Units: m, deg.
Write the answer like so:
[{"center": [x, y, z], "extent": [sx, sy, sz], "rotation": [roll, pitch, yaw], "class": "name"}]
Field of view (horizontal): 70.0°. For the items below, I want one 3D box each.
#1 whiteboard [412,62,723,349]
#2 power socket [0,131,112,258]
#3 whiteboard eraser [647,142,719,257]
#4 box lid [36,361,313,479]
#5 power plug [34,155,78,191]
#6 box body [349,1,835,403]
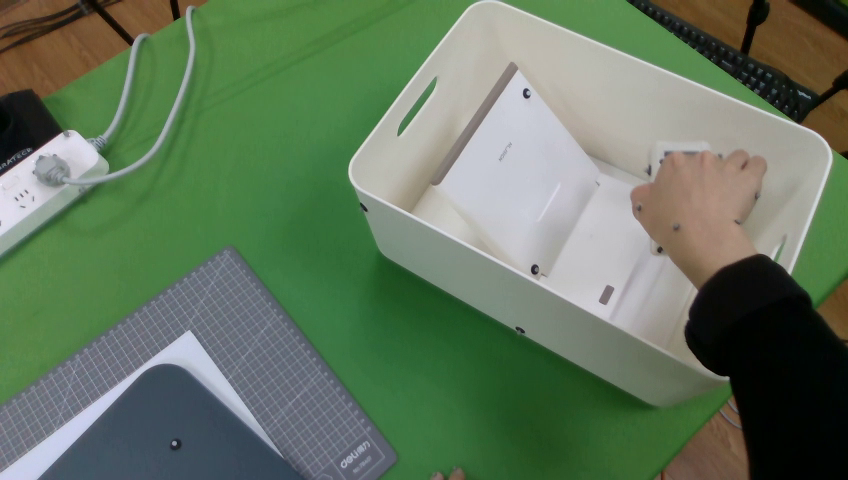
[{"center": [0.141, -0.041, 0.609], "extent": [0.304, 0.145, 0.216], "rotation": [27, 68, 16], "class": "whiteboard"}, {"center": [-0.464, -0.040, 0.691], "extent": [0.072, 0.033, 0.226], "rotation": [41, 72, 18], "class": "power socket"}, {"center": [0.235, -0.037, 0.553], "extent": [0.055, 0.042, 0.112], "rotation": [4, 61, 10], "class": "whiteboard eraser"}, {"center": [-0.202, 0.304, 0.529], "extent": [0.369, 0.015, 0.263], "rotation": [36, 70, 16], "class": "box lid"}, {"center": [-0.407, -0.065, 0.676], "extent": [0.035, 0.053, 0.072], "rotation": [-33, 74, -13], "class": "power plug"}, {"center": [0.146, -0.036, 0.596], "extent": [0.362, 0.161, 0.253], "rotation": [28, 68, 14], "class": "box body"}]
